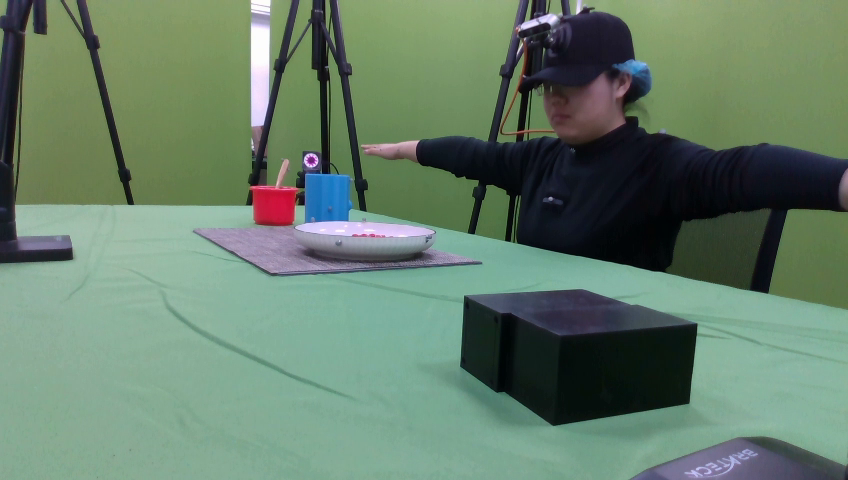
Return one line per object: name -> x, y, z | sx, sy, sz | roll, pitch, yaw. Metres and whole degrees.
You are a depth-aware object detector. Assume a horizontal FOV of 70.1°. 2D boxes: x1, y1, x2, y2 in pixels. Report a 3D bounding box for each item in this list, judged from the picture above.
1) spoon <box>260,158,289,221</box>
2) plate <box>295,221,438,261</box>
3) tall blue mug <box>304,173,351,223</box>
spoon -> -0.308, -0.110, 1.277 | 0.041, 0.022, 0.193 | -1, 51, 6
plate -> -0.083, 0.001, 0.885 | 0.208, 0.039, 0.207 | 2, 7, 0
tall blue mug -> -0.178, -0.063, 1.062 | 0.078, 0.108, 0.106 | -5, 10, -38
